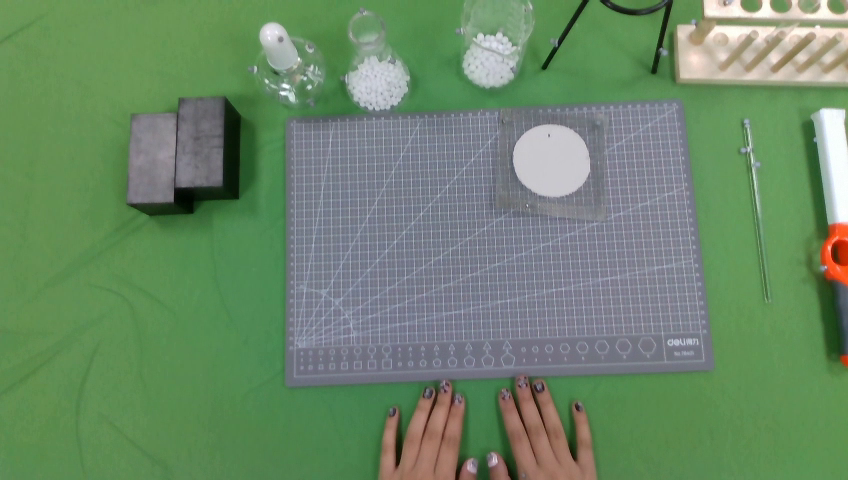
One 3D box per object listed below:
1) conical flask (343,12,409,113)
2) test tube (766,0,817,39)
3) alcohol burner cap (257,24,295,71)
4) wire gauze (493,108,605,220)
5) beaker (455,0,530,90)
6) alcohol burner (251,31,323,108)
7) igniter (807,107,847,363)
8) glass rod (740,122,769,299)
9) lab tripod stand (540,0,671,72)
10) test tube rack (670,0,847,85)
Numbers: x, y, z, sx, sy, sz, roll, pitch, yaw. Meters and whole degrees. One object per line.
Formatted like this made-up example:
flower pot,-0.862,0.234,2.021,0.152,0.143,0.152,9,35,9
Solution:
conical flask,-0.056,-0.191,0.642,0.075,0.122,0.075,0,79,1
test tube,0.386,-0.242,0.611,0.017,0.151,0.017,-1,79,4
alcohol burner cap,-0.151,-0.198,0.612,0.034,0.048,0.033,0,73,1
wire gauze,0.140,-0.087,0.675,0.125,0.011,0.121,6,80,-1
beaker,0.073,-0.211,0.655,0.074,0.100,0.083,-20,80,-2
alcohol burner,-0.150,-0.189,0.647,0.078,0.119,0.077,0,80,3
igniter,0.445,-0.009,0.648,0.057,0.025,0.275,1,80,-8
glass rod,0.361,-0.035,0.663,0.008,0.008,0.199,-2,79,1
lab tripod stand,0.197,-0.242,0.641,0.148,0.132,0.148,0,82,2
test tube rack,0.404,-0.218,0.656,0.242,0.085,0.066,1,79,2
